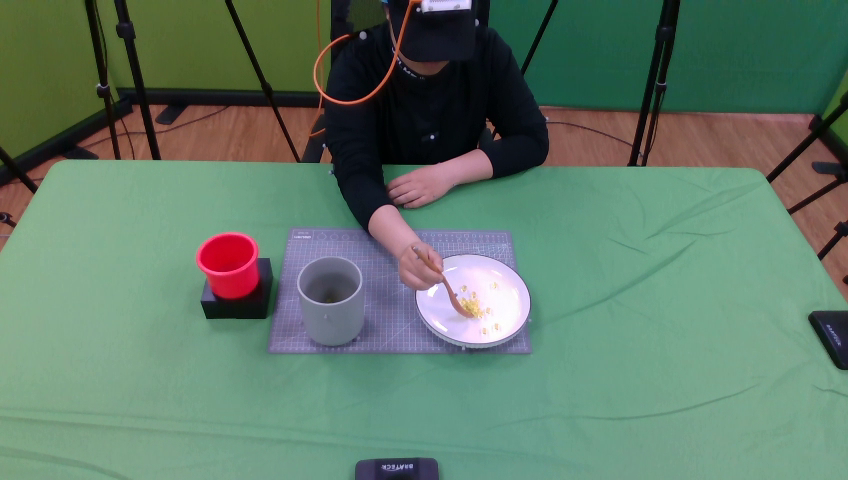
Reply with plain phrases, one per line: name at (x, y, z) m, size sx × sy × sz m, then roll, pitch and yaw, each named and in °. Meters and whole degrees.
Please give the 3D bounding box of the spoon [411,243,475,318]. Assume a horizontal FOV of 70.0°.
spoon at (0.032, 0.069, 1.007) m, size 0.021 × 0.195 × 0.041 m, roll -39°, pitch 32°, yaw -7°

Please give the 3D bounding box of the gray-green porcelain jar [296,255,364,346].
gray-green porcelain jar at (-0.153, 0.106, 1.008) m, size 0.106 × 0.127 × 0.105 m, roll 2°, pitch 46°, yaw -2°

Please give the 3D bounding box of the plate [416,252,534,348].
plate at (0.090, 0.109, 1.084) m, size 0.208 × 0.039 × 0.206 m, roll 2°, pitch 46°, yaw -2°
